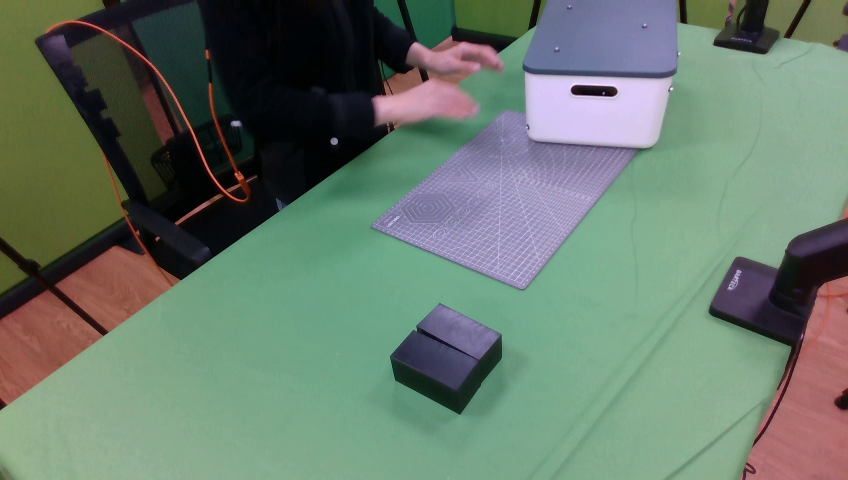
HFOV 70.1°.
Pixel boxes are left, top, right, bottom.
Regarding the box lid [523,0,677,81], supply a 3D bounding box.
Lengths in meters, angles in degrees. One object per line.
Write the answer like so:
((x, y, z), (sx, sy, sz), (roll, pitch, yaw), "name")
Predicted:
((0.347, -0.397, 1.163), (0.262, 0.015, 0.371), (7, 42, 16), "box lid")

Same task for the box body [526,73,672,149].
((0.356, -0.342, 1.212), (0.253, 0.161, 0.363), (7, 42, 17), "box body")
